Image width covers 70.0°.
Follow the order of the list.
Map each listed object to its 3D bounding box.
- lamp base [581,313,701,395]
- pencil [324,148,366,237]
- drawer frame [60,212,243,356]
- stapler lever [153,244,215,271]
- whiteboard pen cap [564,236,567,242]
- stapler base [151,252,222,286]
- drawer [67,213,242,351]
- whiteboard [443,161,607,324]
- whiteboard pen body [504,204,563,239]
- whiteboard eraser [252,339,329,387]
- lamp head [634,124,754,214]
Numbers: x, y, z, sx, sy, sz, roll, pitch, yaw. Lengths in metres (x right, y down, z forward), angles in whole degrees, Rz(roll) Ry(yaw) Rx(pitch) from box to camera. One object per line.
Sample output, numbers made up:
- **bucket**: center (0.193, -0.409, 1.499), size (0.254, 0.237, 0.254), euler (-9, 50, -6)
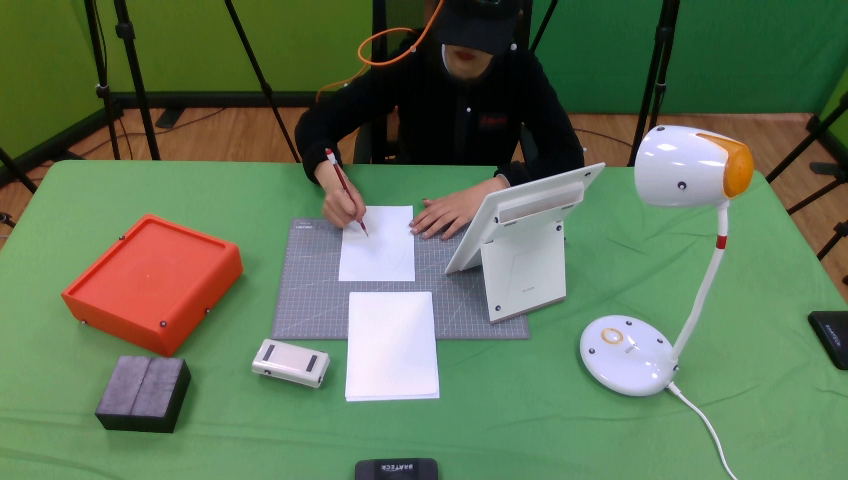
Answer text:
- **lamp base**: center (0.361, 0.144, 0.973), size (0.178, 0.181, 0.160), euler (34, 53, 23)
- **pencil**: center (-0.148, -0.088, 1.160), size (0.012, 0.195, 0.012), euler (-18, 25, 9)
- **drawer frame**: center (-0.462, 0.070, 1.053), size (0.201, 0.083, 0.213), euler (18, 48, 12)
- **stapler lever**: center (-0.430, 0.025, 1.088), size (0.118, 0.040, 0.027), euler (16, 33, 12)
- **whiteboard pen cap**: center (0.271, -0.008, 1.225), size (0.033, 0.018, 0.018), euler (34, 53, 23)
- **stapler base**: center (-0.432, 0.047, 1.103), size (0.130, 0.024, 0.041), euler (16, 33, 12)
- **drawer**: center (-0.461, 0.068, 1.056), size (0.194, 0.073, 0.211), euler (19, 48, 13)
- **whiteboard**: center (0.185, 0.026, 1.028), size (0.217, 0.306, 0.143), euler (-15, 68, -18)
- **whiteboard pen body**: center (0.227, -0.037, 1.250), size (0.140, 0.017, 0.017), euler (32, 52, 24)
- **whiteboard eraser**: center (-0.215, 0.199, 0.976), size (0.112, 0.042, 0.055), euler (12, 45, 7)
- **lamp head**: center (0.351, -0.089, 0.776), size (0.112, 0.113, 0.122), euler (-30, 30, -28)
